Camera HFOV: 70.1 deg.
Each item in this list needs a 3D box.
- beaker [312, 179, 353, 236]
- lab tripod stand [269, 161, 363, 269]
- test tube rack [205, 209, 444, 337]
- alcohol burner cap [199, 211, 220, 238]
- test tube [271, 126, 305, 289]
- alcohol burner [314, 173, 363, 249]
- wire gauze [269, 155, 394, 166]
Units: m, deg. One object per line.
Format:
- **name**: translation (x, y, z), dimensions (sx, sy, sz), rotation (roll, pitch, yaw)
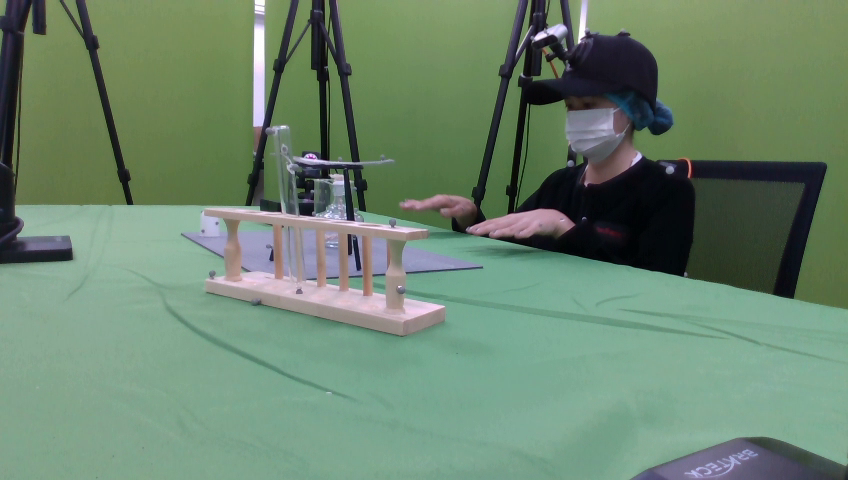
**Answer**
- **beaker**: translation (-0.168, -0.060, 1.104), dimensions (0.074, 0.100, 0.083), rotation (1, 8, -13)
- **lab tripod stand**: translation (-0.125, -0.036, 0.794), dimensions (0.148, 0.131, 0.148), rotation (5, 7, 0)
- **test tube rack**: translation (-0.100, 0.021, 0.565), dimensions (0.241, 0.085, 0.067), rotation (7, 9, 32)
- **alcohol burner cap**: translation (-0.356, -0.027, 1.002), dimensions (0.034, 0.048, 0.034), rotation (2, 7, 0)
- **test tube**: translation (-0.124, -0.028, 0.554), dimensions (0.017, 0.150, 0.017), rotation (-5, 7, 1)
- **alcohol burner**: translation (-0.135, -0.046, 0.952), dimensions (0.078, 0.119, 0.078), rotation (1, 9, 0)
- **wire gauze**: translation (-0.121, -0.102, 0.785), dimensions (0.122, 0.011, 0.124), rotation (-3, 10, -39)
